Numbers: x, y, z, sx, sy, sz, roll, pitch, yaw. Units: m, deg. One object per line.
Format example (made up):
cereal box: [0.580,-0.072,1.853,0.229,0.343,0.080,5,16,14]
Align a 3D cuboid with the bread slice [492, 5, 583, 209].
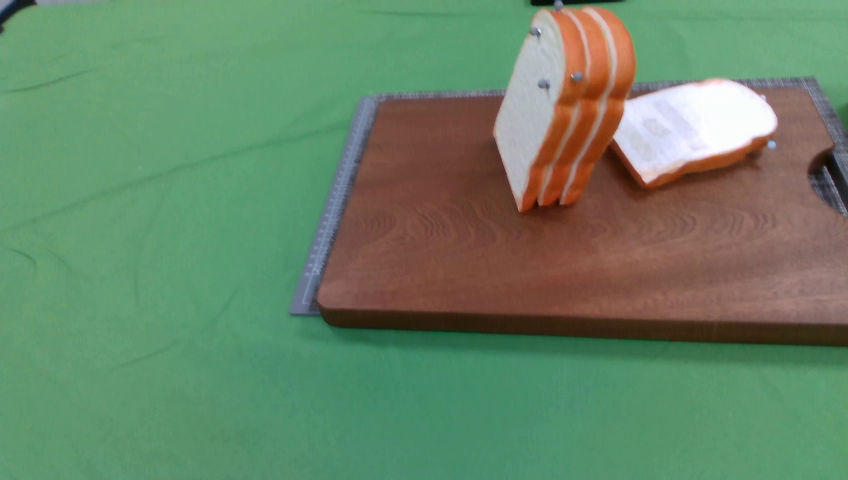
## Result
bread slice: [0.086,-0.110,0.474,0.018,0.135,0.106,1,44,-13]

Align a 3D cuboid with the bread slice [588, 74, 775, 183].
bread slice: [0.220,-0.098,0.510,0.131,0.019,0.103,-16,45,0]
